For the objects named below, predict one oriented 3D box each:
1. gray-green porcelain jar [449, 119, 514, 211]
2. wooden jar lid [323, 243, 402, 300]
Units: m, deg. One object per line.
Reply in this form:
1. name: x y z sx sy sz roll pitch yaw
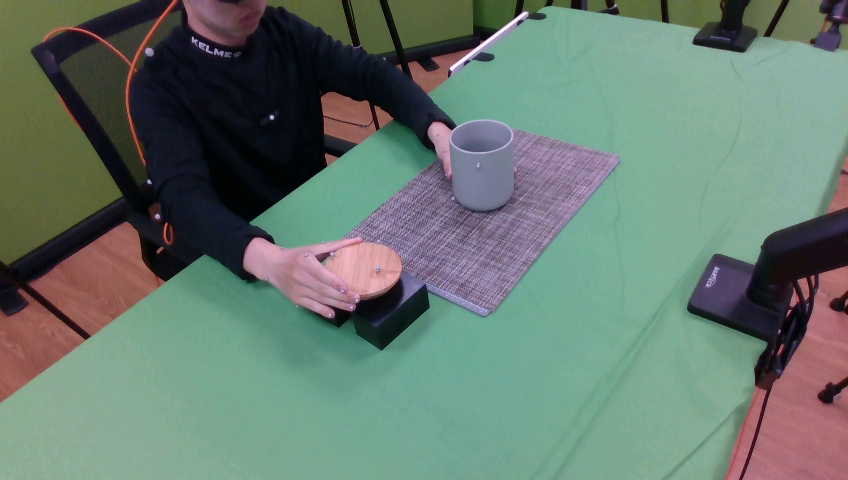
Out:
1. gray-green porcelain jar: 0.098 -0.120 1.009 0.106 0.127 0.105 -4 41 4
2. wooden jar lid: -0.084 0.045 0.837 0.108 0.021 0.108 0 38 1
